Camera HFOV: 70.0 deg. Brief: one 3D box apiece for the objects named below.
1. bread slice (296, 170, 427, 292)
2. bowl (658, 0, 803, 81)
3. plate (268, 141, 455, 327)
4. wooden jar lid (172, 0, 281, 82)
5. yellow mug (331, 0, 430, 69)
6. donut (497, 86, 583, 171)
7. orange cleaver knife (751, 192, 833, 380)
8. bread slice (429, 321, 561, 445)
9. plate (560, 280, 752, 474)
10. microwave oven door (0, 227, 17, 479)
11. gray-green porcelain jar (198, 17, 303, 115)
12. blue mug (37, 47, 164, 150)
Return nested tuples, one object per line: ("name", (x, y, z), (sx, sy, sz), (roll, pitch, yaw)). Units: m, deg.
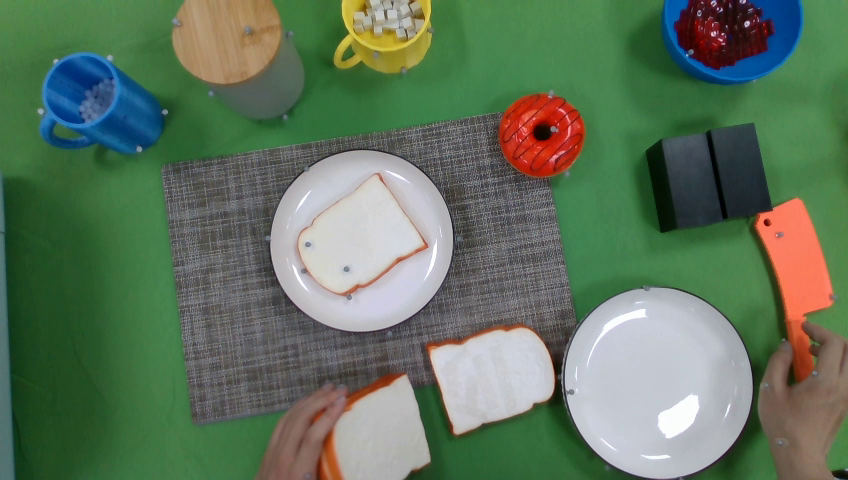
("bread slice", (-0.077, -0.003, 0.690), (0.131, 0.019, 0.104), (-35, 85, -4))
("bowl", (0.332, -0.244, 0.688), (0.151, 0.077, 0.151), (0, 85, 1))
("plate", (-0.069, -0.006, 0.688), (0.208, 0.039, 0.207), (0, 85, 1))
("wooden jar lid", (-0.195, -0.208, 0.604), (0.108, 0.021, 0.108), (0, 83, 2))
("yellow mug", (-0.055, -0.248, 0.699), (0.131, 0.064, 0.100), (-41, 86, -2))
("donut", (0.132, -0.127, 0.693), (0.099, 0.048, 0.099), (0, 86, 0))
("orange cleaver knife", (0.428, 0.050, 0.691), (0.077, 0.012, 0.210), (-8, 84, -6))
("bread slice", (0.084, 0.147, 0.650), (0.134, 0.018, 0.106), (-15, 81, -20))
("plate", (0.253, 0.149, 0.674), (0.209, 0.038, 0.208), (0, 85, 1))
("microwave oven door", (-0.481, 0.151, 0.563), (0.039, 0.244, 0.355), (-6, 85, 1))
("gray-green porcelain jar", (-0.194, -0.201, 0.666), (0.106, 0.127, 0.105), (0, 84, 1))
("blue mug", (-0.366, -0.144, 0.673), (0.116, 0.106, 0.082), (-35, 85, -2))
